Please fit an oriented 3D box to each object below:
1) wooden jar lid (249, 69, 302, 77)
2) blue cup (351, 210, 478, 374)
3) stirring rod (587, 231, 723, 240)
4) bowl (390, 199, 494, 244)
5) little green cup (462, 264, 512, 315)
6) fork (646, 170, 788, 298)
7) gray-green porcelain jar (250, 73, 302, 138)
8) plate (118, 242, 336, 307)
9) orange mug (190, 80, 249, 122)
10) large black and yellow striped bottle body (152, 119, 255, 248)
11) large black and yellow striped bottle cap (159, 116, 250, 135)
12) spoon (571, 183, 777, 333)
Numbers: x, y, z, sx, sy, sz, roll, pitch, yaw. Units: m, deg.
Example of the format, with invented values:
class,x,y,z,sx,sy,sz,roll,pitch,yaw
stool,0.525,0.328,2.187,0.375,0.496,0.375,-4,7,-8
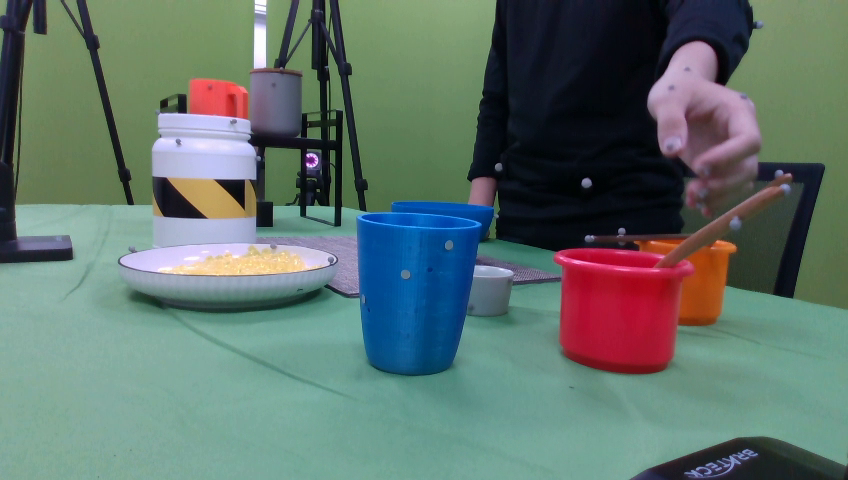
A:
class,x,y,z,sx,sy,sz,roll,pitch,yaw
wooden jar lid,-0.309,-0.341,1.262,0.108,0.020,0.108,1,8,0
blue cup,-0.009,0.034,0.414,0.093,0.100,0.092,4,8,0
stirring rod,0.227,-0.005,0.585,0.177,0.006,0.014,-1,6,-28
bowl,0.024,-0.015,0.872,0.151,0.077,0.151,3,7,0
little green cup,0.053,0.047,0.580,0.061,0.038,0.061,3,8,0
fork,0.256,0.004,0.543,0.028,0.018,0.207,3,-37,-10
gray-green porcelain jar,-0.312,-0.280,1.270,0.106,0.126,0.106,3,8,0
plate,-0.194,0.033,0.615,0.209,0.038,0.209,2,7,0
orange mug,-0.393,-0.257,1.173,0.126,0.100,0.084,1,6,25
large black and yellow striped bottle body,-0.296,-0.070,0.819,0.131,0.184,0.130,2,7,0
large black and yellow striped bottle cap,-0.292,-0.153,0.810,0.115,0.019,0.115,3,8,0
spoon,0.161,0.020,0.413,0.042,0.021,0.193,1,-37,-23
